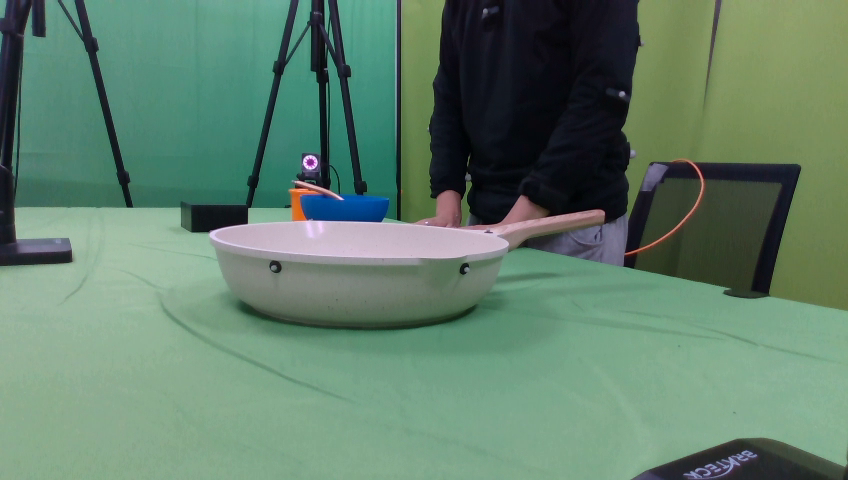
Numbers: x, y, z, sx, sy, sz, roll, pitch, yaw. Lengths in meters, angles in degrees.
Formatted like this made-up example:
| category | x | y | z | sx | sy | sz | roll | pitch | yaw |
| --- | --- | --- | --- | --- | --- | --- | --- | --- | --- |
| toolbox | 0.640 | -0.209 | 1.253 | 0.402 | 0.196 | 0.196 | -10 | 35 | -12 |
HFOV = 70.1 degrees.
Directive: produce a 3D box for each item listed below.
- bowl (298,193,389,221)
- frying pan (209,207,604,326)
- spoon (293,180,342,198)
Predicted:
| category | x | y | z | sx | sy | sz | roll | pitch | yaw |
| --- | --- | --- | --- | --- | --- | --- | --- | --- | --- |
| bowl | -0.136 | -0.037 | 1.018 | 0.151 | 0.077 | 0.151 | 2 | 7 | 0 |
| frying pan | 0.026 | 0.005 | 0.664 | 0.490 | 0.102 | 0.305 | -12 | 14 | -30 |
| spoon | -0.157 | -0.074 | 1.056 | 0.193 | 0.021 | 0.042 | 27 | 24 | 27 |
